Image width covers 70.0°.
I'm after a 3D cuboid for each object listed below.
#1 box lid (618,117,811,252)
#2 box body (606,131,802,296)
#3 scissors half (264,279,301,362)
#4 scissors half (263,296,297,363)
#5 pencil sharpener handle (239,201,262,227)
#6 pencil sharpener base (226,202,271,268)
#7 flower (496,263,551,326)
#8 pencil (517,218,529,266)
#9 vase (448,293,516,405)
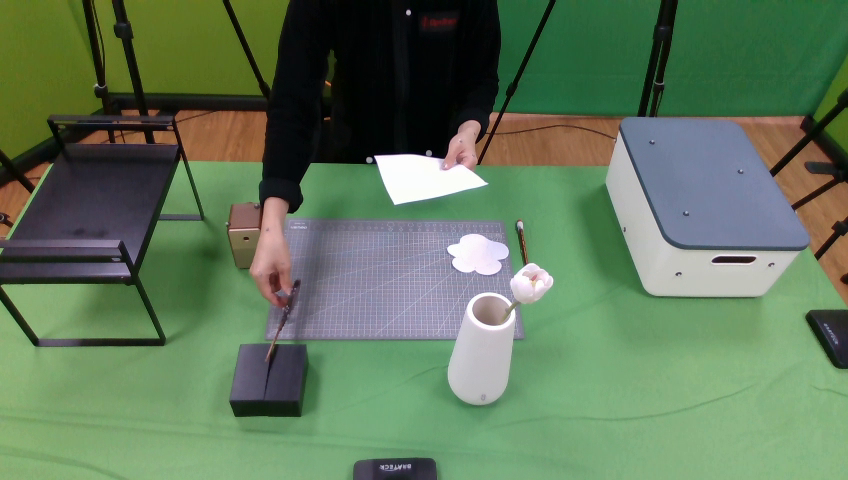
[{"bbox_3d":[0.534,-0.117,1.149,0.263,0.015,0.369,0,47,-3],"label":"box lid"},{"bbox_3d":[0.530,-0.067,1.204,0.254,0.161,0.361,0,46,-4],"label":"box body"},{"bbox_3d":[-0.232,0.128,0.993,0.013,0.040,0.174,18,45,-6],"label":"scissors half"},{"bbox_3d":[-0.239,0.142,1.004,0.013,0.040,0.174,23,31,-8],"label":"scissors half"},{"bbox_3d":[-0.325,-0.055,1.150,0.036,0.068,0.030,-13,46,3],"label":"pencil sharpener handle"},{"bbox_3d":[-0.323,-0.010,1.123,0.061,0.107,0.076,-3,46,-6],"label":"pencil sharpener base"},{"bbox_3d":[0.102,0.120,0.853,0.044,0.363,0.038,-2,64,-10],"label":"flower"},{"bbox_3d":[0.200,0.028,1.196,0.012,0.012,0.193,2,48,-3],"label":"pencil"},{"bbox_3d":[0.091,0.169,0.921,0.098,0.201,0.097,3,47,-3],"label":"vase"}]
